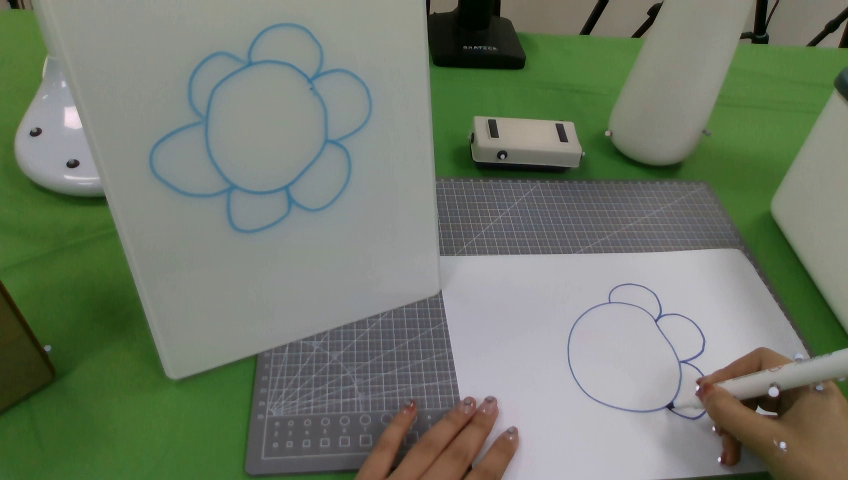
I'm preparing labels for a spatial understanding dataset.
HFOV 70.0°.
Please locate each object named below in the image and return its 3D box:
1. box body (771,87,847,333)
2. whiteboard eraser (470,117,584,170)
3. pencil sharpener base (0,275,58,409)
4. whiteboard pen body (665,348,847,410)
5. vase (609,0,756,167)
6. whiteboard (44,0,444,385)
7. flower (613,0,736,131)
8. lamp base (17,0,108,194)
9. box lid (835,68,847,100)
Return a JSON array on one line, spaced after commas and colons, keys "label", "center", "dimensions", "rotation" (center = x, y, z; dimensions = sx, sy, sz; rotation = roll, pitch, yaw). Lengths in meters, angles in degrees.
[{"label": "box body", "center": [0.487, 0.035, 0.477], "dimensions": [0.255, 0.162, 0.360], "rotation": [1, 46, -7]}, {"label": "whiteboard eraser", "center": [0.106, -0.099, 0.636], "dimensions": [0.113, 0.042, 0.055], "rotation": [1, 44, -6]}, {"label": "pencil sharpener base", "center": [-0.295, 0.053, 0.383], "dimensions": [0.076, 0.108, 0.061], "rotation": [35, 51, 24]}, {"label": "whiteboard pen body", "center": [0.221, 0.096, 0.403], "dimensions": [0.017, 0.141, 0.017], "rotation": [19, 55, -30]}, {"label": "vase", "center": [0.264, -0.172, 0.620], "dimensions": [0.098, 0.201, 0.097], "rotation": [5, 45, -5]}, {"label": "whiteboard", "center": [-0.117, -0.087, 0.446], "dimensions": [0.218, 0.308, 0.142], "rotation": [-15, 31, -21]}, {"label": "flower", "center": [0.283, -0.219, 0.552], "dimensions": [0.044, 0.363, 0.038], "rotation": [-20, 69, -34]}, {"label": "lamp base", "center": [-0.303, -0.159, 0.536], "dimensions": [0.178, 0.182, 0.160], "rotation": [29, 49, 22]}, {"label": "box lid", "center": [0.493, -0.016, 0.422], "dimensions": [0.264, 0.015, 0.367], "rotation": [1, 45, -7]}]
